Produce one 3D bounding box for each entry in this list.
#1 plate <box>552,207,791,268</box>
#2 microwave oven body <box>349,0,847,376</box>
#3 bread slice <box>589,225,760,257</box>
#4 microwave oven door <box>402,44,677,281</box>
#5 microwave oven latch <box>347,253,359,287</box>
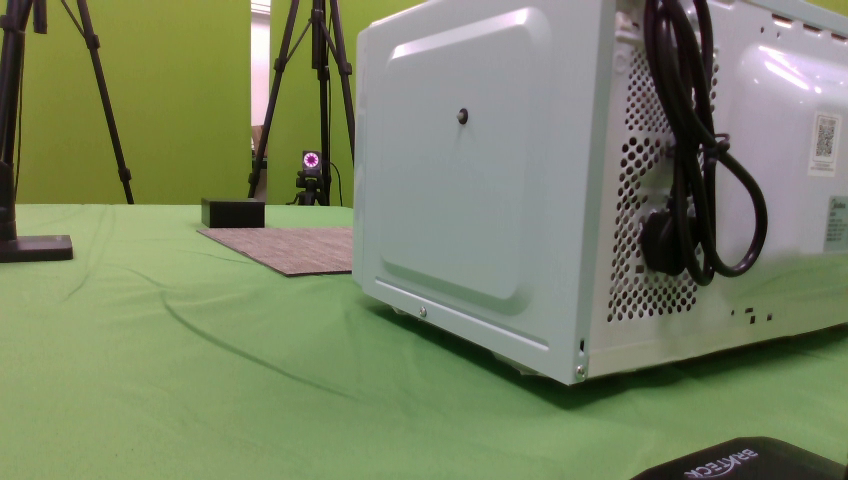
[{"bbox_3d":[0.225,-0.005,0.572,0.209,0.038,0.209,4,7,0],"label":"plate"},{"bbox_3d":[0.199,-0.053,0.540,0.444,0.260,0.324,-1,7,-32],"label":"microwave oven body"},{"bbox_3d":[0.226,0.000,0.568,0.132,0.019,0.104,2,6,-22],"label":"bread slice"},{"bbox_3d":[0.149,-0.081,0.702,0.358,0.243,0.039,-1,8,-26],"label":"microwave oven door"},{"bbox_3d":[-0.034,0.028,0.580,0.079,0.029,0.030,-1,7,-30],"label":"microwave oven latch"}]
